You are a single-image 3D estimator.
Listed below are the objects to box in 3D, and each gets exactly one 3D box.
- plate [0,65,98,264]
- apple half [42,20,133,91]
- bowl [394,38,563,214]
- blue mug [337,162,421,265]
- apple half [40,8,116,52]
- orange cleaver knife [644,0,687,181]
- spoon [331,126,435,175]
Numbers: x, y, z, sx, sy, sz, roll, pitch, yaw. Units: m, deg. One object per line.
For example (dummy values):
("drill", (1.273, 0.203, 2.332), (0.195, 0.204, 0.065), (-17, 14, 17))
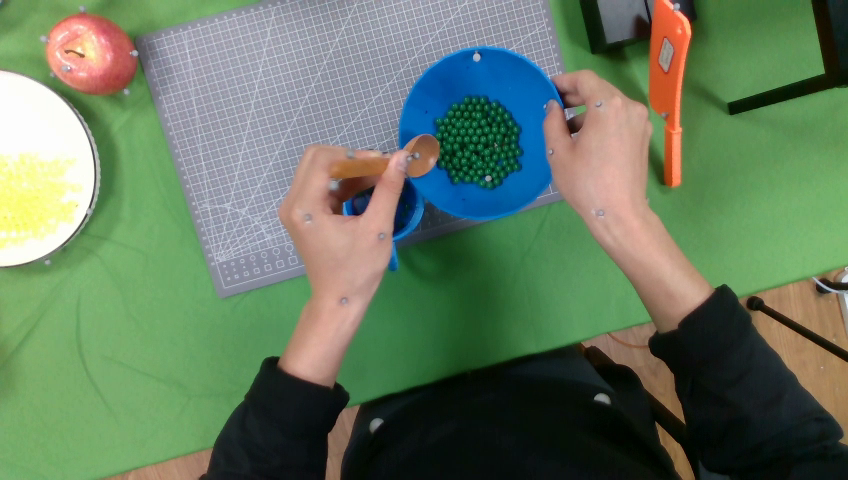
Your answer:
("plate", (-0.451, -0.080, 0.645), (0.209, 0.038, 0.209), (0, 96, -3))
("apple half", (-0.338, -0.183, 0.627), (0.081, 0.074, 0.053), (-31, 100, -4))
("bowl", (0.055, -0.103, 0.562), (0.151, 0.077, 0.152), (2, 100, 14))
("blue mug", (-0.044, -0.031, 0.641), (0.082, 0.105, 0.116), (-8, 95, -3))
("apple half", (-0.358, -0.216, 0.621), (0.081, 0.081, 0.033), (-31, 101, 0))
("orange cleaver knife", (0.260, -0.165, 0.662), (0.012, 0.076, 0.213), (-17, 127, -3))
("spoon", (-0.025, -0.067, 0.473), (0.021, 0.193, 0.042), (24, 107, 9))
